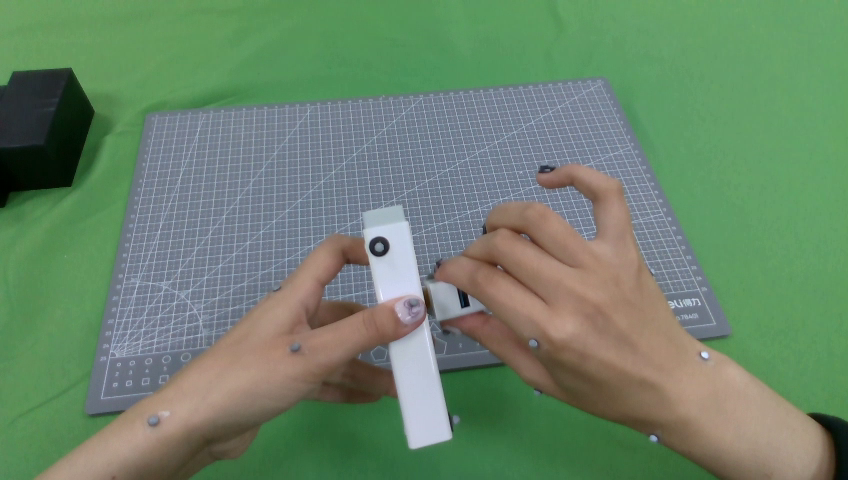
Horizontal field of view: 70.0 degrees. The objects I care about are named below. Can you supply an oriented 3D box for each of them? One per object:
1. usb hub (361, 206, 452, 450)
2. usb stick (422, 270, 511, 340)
[{"bbox_3d":[-0.011,0.045,0.329,0.025,0.049,0.125,-12,95,-2],"label":"usb hub"},{"bbox_3d":[0.016,0.038,0.335,0.059,0.021,0.027,-18,17,-1],"label":"usb stick"}]
